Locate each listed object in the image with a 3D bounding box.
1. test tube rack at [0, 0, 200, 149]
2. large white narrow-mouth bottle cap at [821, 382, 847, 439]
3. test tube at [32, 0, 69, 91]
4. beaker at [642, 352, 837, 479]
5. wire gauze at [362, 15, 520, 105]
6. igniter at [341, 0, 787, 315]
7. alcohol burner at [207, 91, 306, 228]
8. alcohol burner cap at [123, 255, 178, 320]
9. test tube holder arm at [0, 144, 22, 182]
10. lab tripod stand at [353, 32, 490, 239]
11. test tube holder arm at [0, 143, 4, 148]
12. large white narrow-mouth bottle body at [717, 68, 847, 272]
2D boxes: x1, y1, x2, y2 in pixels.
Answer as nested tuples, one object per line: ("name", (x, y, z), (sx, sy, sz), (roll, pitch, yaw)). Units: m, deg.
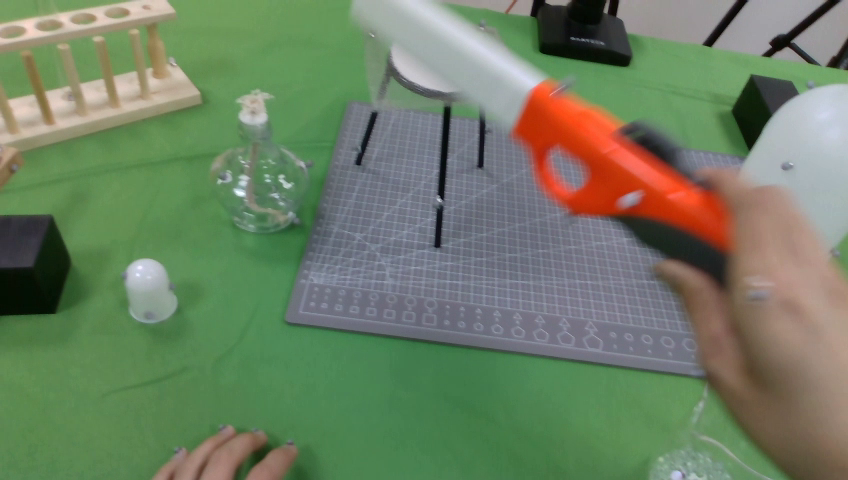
("test tube rack", (-0.339, -0.147, 0.545), (0.243, 0.086, 0.066), (-25, 56, -29))
("large white narrow-mouth bottle cap", (0.314, 0.126, 0.443), (0.038, 0.024, 0.037), (4, 46, -4))
("test tube", (-0.329, -0.199, 0.527), (0.017, 0.151, 0.017), (5, 42, -5))
("beaker", (0.179, 0.127, 0.366), (0.084, 0.101, 0.073), (-1, 47, -9))
("wire gauze", (0.012, -0.145, 0.471), (0.122, 0.011, 0.123), (-2, 49, -13))
("igniter", (0.056, -0.060, 0.307), (0.274, 0.057, 0.025), (40, 44, 21))
("alcohol burner", (-0.135, -0.067, 0.485), (0.078, 0.120, 0.077), (6, 45, -6))
("alcohol burner cap", (-0.196, 0.032, 0.431), (0.034, 0.048, 0.033), (6, 46, -6))
("test tube holder arm", (-0.314, -0.036, 0.426), (0.010, 0.015, 0.087), (10, 45, 0))
("lab tripod stand", (0.008, -0.097, 0.519), (0.149, 0.132, 0.147), (6, 47, -6))
("test tube holder arm", (-0.325, -0.006, 0.394), (0.013, 0.015, 0.177), (10, 45, 0))
("large white narrow-mouth bottle body", (0.324, -0.068, 0.503), (0.102, 0.196, 0.101), (4, 46, -4))
